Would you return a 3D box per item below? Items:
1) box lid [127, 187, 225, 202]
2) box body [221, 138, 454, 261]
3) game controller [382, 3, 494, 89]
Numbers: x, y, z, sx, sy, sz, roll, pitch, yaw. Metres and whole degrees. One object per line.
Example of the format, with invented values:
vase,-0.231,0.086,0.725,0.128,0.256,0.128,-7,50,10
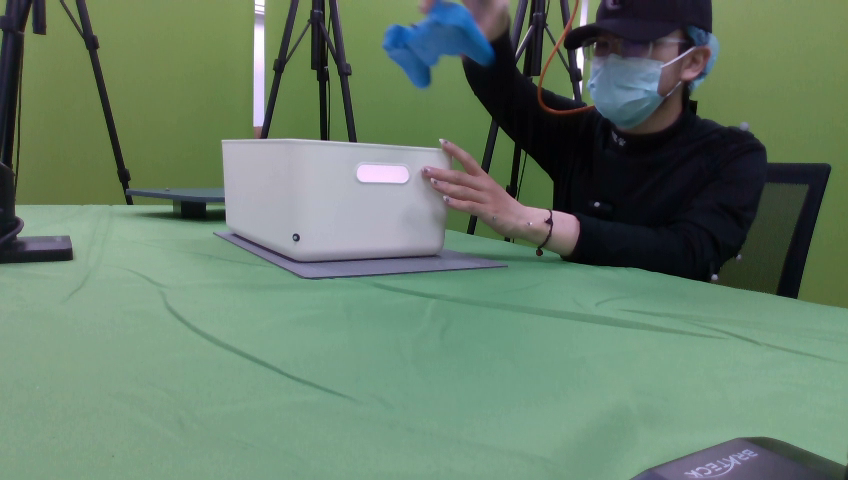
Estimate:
box lid,-0.449,-0.106,1.393,0.262,0.015,0.373,6,8,28
box body,-0.152,-0.074,0.963,0.255,0.160,0.362,-3,9,-33
game controller,0.016,-0.258,0.800,0.097,0.051,0.154,32,-22,-34
